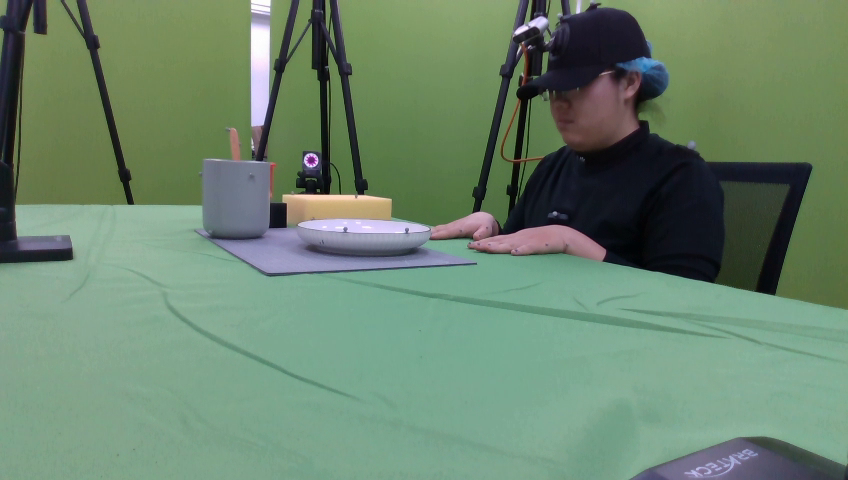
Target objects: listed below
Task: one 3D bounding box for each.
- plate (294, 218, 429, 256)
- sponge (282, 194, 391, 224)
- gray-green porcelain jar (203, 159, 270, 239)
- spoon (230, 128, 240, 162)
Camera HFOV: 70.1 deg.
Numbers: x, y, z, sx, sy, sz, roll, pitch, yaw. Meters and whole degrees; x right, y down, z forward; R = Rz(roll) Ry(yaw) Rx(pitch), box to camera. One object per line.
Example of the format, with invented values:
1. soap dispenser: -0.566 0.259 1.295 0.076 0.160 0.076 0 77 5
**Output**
1. plate: -0.096 -0.005 0.936 0.208 0.039 0.207 3 7 0
2. sponge: -0.187 -0.065 1.306 0.208 0.061 0.117 -4 10 -37
3. gray-green porcelain jar: -0.310 -0.068 0.999 0.106 0.126 0.106 3 8 0
4. spoon: -0.314 -0.109 1.025 0.042 0.193 0.021 -5 -19 -16
